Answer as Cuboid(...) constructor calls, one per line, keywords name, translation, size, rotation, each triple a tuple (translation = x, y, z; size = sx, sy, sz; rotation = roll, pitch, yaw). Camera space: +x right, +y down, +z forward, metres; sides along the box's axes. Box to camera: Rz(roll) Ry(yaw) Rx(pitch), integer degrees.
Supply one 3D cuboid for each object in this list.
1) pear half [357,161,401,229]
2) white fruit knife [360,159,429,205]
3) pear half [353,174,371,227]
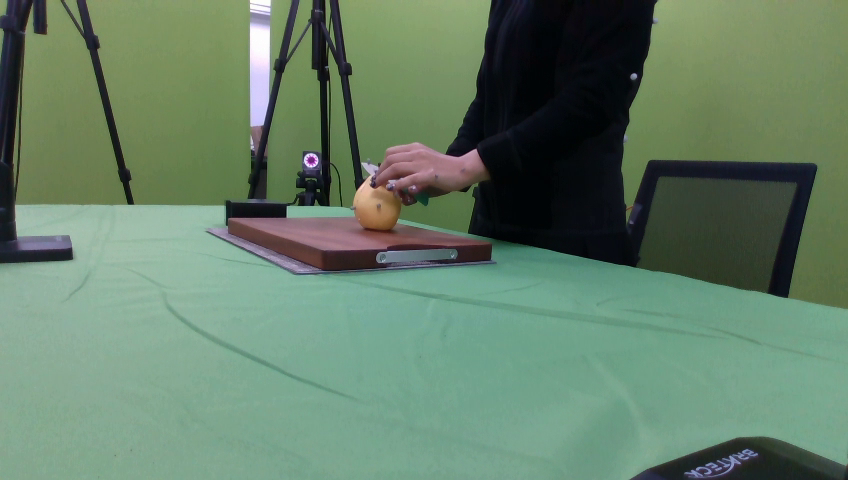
Cuboid(name="pear half", translation=(-0.065, -0.072, 0.971), size=(0.055, 0.110, 0.077), rotation=(8, 13, 33))
Cuboid(name="white fruit knife", translation=(-0.047, -0.101, 1.031), size=(0.016, 0.027, 0.208), rotation=(0, -13, 31))
Cuboid(name="pear half", translation=(-0.095, -0.065, 0.992), size=(0.031, 0.088, 0.071), rotation=(7, 14, 32))
